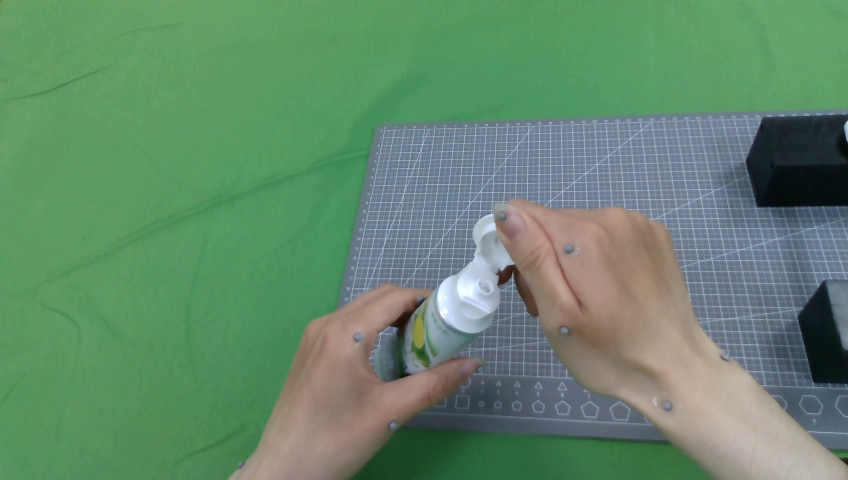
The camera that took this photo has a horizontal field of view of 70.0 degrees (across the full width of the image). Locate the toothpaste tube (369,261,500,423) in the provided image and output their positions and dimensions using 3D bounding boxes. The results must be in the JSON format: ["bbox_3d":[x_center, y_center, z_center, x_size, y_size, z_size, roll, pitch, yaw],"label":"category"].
[{"bbox_3d":[-0.002,0.062,0.374,0.035,0.165,0.054,10,55,-24],"label":"toothpaste tube"}]

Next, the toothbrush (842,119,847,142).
[{"bbox_3d":[0.297,-0.017,0.399,0.014,0.017,0.180,14,59,1],"label":"toothbrush"}]

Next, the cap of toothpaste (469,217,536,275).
[{"bbox_3d":[0.040,0.003,0.318,0.037,0.038,0.011,4,44,14],"label":"cap of toothpaste"}]
